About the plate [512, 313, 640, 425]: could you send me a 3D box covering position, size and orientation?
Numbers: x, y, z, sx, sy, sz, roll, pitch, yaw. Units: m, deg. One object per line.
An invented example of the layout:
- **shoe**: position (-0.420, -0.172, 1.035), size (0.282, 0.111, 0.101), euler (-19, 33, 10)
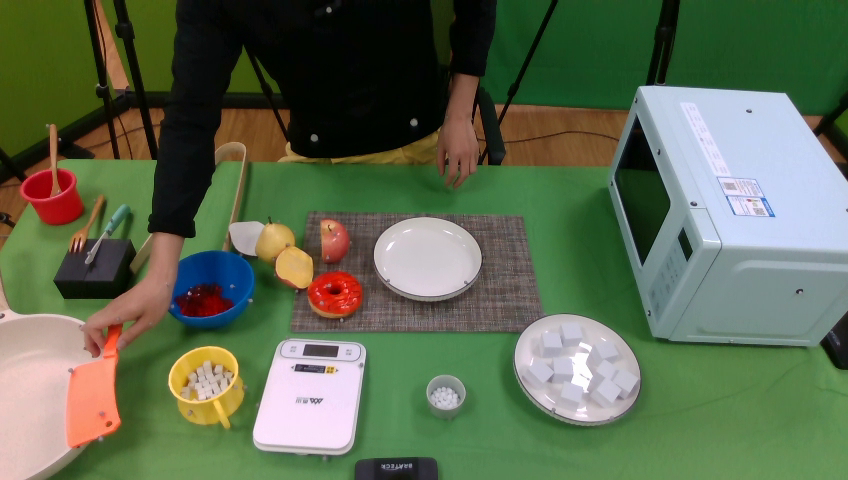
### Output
- **plate**: position (0.246, 0.213, 0.999), size (0.208, 0.039, 0.206), euler (2, 46, -2)

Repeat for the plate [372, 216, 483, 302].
- **plate**: position (0.006, 0.038, 1.145), size (0.209, 0.038, 0.208), euler (2, 46, -2)

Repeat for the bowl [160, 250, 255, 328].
- **bowl**: position (-0.362, 0.098, 1.040), size (0.151, 0.077, 0.150), euler (2, 45, -2)

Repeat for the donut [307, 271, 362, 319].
- **donut**: position (-0.158, 0.097, 1.073), size (0.099, 0.048, 0.098), euler (4, 45, -4)

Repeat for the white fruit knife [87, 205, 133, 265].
- **white fruit knife**: position (-0.584, -0.013, 1.129), size (0.016, 0.027, 0.206), euler (0, 31, -5)

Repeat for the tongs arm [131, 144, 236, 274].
- **tongs arm**: position (-0.483, -0.077, 1.236), size (0.028, 0.028, 0.385), euler (6, 45, 13)

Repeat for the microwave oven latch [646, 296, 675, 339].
- **microwave oven latch**: position (0.412, 0.134, 1.061), size (0.030, 0.029, 0.078), euler (4, 45, 1)

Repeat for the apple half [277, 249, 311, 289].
- **apple half**: position (-0.244, 0.057, 1.113), size (0.033, 0.082, 0.081), euler (-33, 40, 27)

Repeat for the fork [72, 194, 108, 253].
- **fork**: position (-0.634, -0.035, 1.158), size (0.028, 0.019, 0.206), euler (-11, 32, -6)

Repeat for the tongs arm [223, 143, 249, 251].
- **tongs arm**: position (-0.398, -0.073, 1.232), size (0.051, 0.027, 0.382), euler (-2, 45, 0)

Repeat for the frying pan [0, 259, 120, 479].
- **frying pan**: position (-0.647, 0.164, 0.936), size (0.307, 0.103, 0.485), euler (-19, 58, -22)

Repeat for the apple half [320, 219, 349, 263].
- **apple half**: position (-0.168, 0.002, 1.144), size (0.053, 0.075, 0.080), euler (-3, 42, -12)

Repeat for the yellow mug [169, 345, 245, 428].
- **yellow mug**: position (-0.322, 0.230, 0.922), size (0.100, 0.064, 0.130), euler (-24, 53, -25)

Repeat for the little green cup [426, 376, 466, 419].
- **little green cup**: position (0.033, 0.248, 0.950), size (0.061, 0.039, 0.061), euler (2, 46, -2)

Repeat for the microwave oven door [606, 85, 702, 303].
- **microwave oven door**: position (0.422, -0.094, 1.140), size (0.039, 0.245, 0.353), euler (2, 46, -1)

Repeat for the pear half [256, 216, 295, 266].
- **pear half**: position (-0.269, 0.001, 1.117), size (0.056, 0.110, 0.076), euler (25, 54, 19)

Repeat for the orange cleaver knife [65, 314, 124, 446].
- **orange cleaver knife**: position (-0.478, 0.199, 0.885), size (0.077, 0.012, 0.210), euler (-8, 48, -12)

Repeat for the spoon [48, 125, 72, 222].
- **spoon**: position (-0.718, -0.131, 1.188), size (0.041, 0.021, 0.193), euler (-3, 90, -7)

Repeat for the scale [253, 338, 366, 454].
- **scale**: position (-0.175, 0.236, 0.951), size (0.149, 0.032, 0.199), euler (5, 45, -1)

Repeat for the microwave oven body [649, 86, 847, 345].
- **microwave oven body**: position (0.567, -0.053, 1.118), size (0.326, 0.261, 0.439), euler (2, 45, -1)

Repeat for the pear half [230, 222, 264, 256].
- **pear half**: position (-0.333, 0.000, 1.167), size (0.088, 0.031, 0.070), euler (31, 52, 4)
